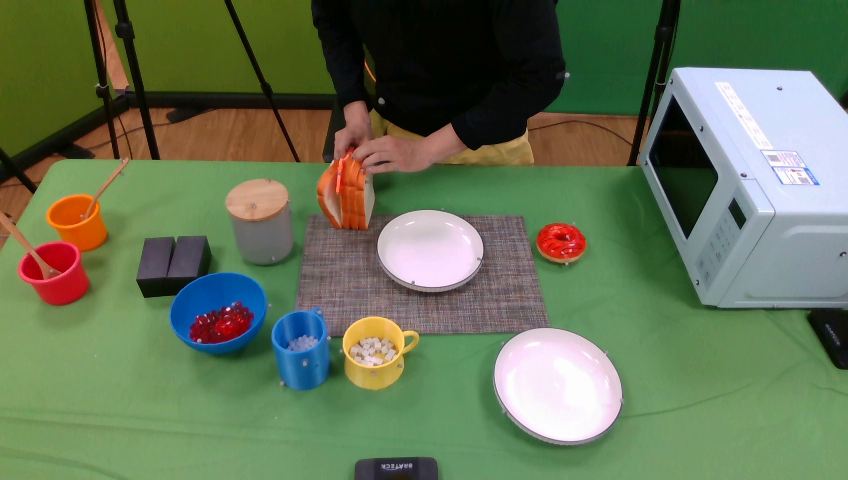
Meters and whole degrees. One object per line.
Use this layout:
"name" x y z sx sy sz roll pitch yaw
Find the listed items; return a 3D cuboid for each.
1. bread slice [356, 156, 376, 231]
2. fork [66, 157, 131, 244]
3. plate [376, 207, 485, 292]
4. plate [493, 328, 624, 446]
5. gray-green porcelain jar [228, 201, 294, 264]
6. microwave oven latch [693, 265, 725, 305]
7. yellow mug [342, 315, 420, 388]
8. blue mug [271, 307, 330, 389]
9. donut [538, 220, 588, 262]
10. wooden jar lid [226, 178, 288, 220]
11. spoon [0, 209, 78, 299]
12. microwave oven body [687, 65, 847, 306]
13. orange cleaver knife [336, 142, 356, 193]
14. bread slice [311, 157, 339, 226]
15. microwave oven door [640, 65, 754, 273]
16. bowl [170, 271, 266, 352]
"bread slice" -0.116 -0.099 1.209 0.018 0.135 0.106 8 47 5
"fork" -0.608 -0.074 1.132 0.207 0.019 0.028 -52 48 10
"plate" 0.012 0.021 1.159 0.209 0.038 0.208 2 47 -2
"plate" 0.213 0.236 0.974 0.208 0.039 0.206 2 46 -2
"gray-green porcelain jar" -0.299 -0.027 1.126 0.106 0.127 0.105 2 46 -2
"microwave oven latch" 0.522 0.081 1.115 0.030 0.029 0.078 2 46 -1
"yellow mug" -0.068 0.177 0.990 0.131 0.064 0.099 -15 50 -19
"blue mug" -0.188 0.163 0.969 0.082 0.106 0.116 15 47 10
"donut" 0.273 0.000 1.198 0.099 0.048 0.098 1 47 0
"wooden jar lid" -0.296 -0.070 1.081 0.108 0.021 0.107 1 45 -1
"spoon" -0.668 0.021 1.040 0.041 0.021 0.194 -41 105 -30
"microwave oven body" 0.669 -0.111 1.176 0.326 0.261 0.439 0 46 -3
"orange cleaver knife" -0.158 -0.150 1.229 0.012 0.077 0.210 8 22 -1
"bread slice" -0.194 -0.103 1.202 0.019 0.132 0.104 21 54 -3
"microwave oven door" 0.523 -0.147 1.193 0.039 0.245 0.353 0 47 -3
"bowl" -0.333 0.132 1.006 0.151 0.077 0.150 2 46 -2
